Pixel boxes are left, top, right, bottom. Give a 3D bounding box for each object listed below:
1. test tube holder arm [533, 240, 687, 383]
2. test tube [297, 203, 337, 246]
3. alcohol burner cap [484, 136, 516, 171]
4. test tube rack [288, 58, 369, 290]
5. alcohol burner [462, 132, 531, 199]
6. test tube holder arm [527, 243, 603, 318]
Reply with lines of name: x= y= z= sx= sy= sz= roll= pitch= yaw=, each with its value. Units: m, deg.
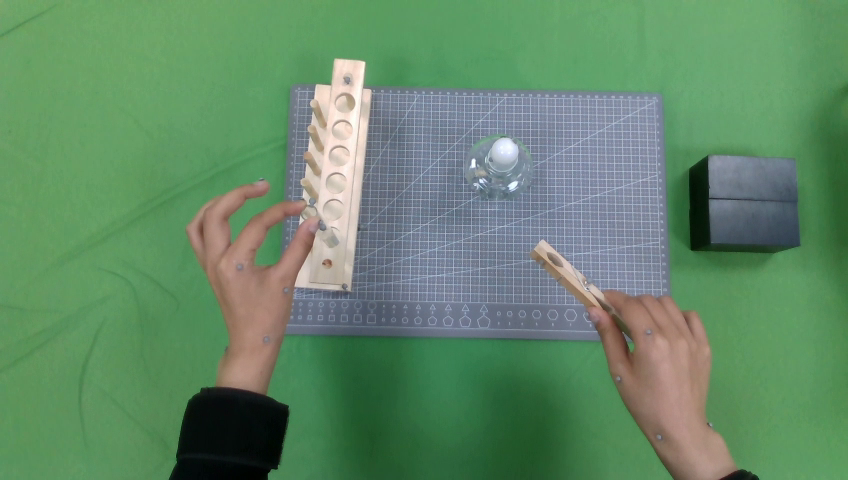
test tube holder arm: x=0.167 y=0.064 z=0.550 sx=0.178 sy=0.015 sz=0.013 roll=42 pitch=67 yaw=6
test tube: x=-0.103 y=-0.009 z=0.608 sx=0.017 sy=0.151 sz=0.017 roll=0 pitch=76 yaw=2
alcohol burner cap: x=0.080 y=-0.092 z=0.627 sx=0.034 sy=0.048 sz=0.034 roll=0 pitch=86 yaw=1
test tube rack: x=-0.109 y=-0.071 z=0.671 sx=0.067 sy=0.085 sz=0.241 roll=5 pitch=81 yaw=0
alcohol burner: x=0.081 y=-0.085 z=0.663 sx=0.078 sy=0.119 sz=0.077 roll=0 pitch=82 yaw=0
test tube holder arm: x=0.130 y=0.037 z=0.553 sx=0.087 sy=0.015 sz=0.010 roll=43 pitch=67 yaw=7
